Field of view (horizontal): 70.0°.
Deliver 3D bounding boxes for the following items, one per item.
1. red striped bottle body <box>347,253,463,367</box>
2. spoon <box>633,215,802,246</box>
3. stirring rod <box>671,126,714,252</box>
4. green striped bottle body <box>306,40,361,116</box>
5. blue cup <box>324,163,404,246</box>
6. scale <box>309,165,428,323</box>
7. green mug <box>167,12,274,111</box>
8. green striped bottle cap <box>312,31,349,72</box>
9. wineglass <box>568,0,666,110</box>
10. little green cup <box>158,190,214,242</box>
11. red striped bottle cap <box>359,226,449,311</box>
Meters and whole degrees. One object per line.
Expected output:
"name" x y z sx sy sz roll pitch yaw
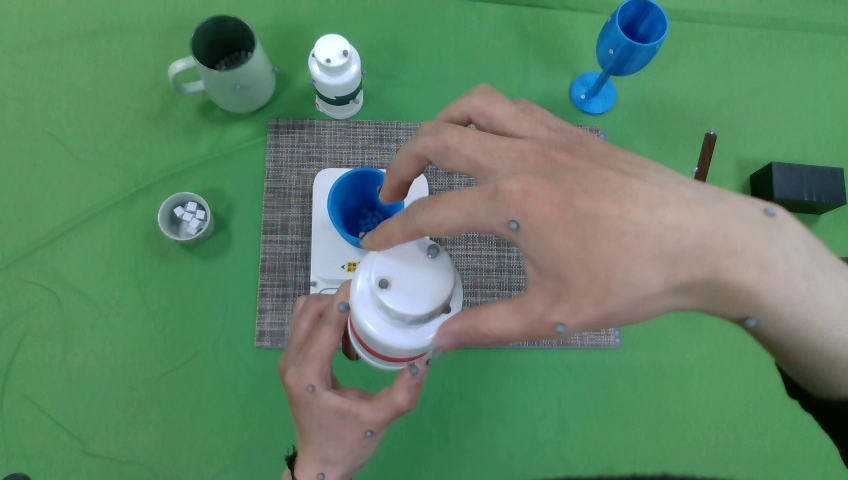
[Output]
"red striped bottle body" -0.014 0.038 0.362 0.063 0.120 0.062 3 71 -7
"spoon" 0.349 -0.006 0.738 0.022 0.192 0.041 21 80 -44
"stirring rod" 0.330 -0.057 0.748 0.014 0.177 0.006 6 36 11
"green striped bottle body" -0.113 -0.210 0.765 0.063 0.119 0.063 1 76 -3
"blue cup" -0.069 -0.033 0.702 0.093 0.100 0.092 1 79 -6
"scale" -0.068 0.003 0.761 0.149 0.031 0.200 0 78 -4
"green mug" -0.258 -0.217 0.764 0.125 0.105 0.092 -21 79 -8
"green striped bottle cap" -0.111 -0.223 0.715 0.044 0.020 0.044 1 75 -4
"wineglass" 0.239 -0.232 0.769 0.074 0.173 0.073 1 76 -3
"little green cup" -0.292 -0.027 0.752 0.061 0.039 0.061 1 77 -5
"red striped bottle cap" -0.010 0.015 0.308 0.045 0.017 0.044 3 80 -19
